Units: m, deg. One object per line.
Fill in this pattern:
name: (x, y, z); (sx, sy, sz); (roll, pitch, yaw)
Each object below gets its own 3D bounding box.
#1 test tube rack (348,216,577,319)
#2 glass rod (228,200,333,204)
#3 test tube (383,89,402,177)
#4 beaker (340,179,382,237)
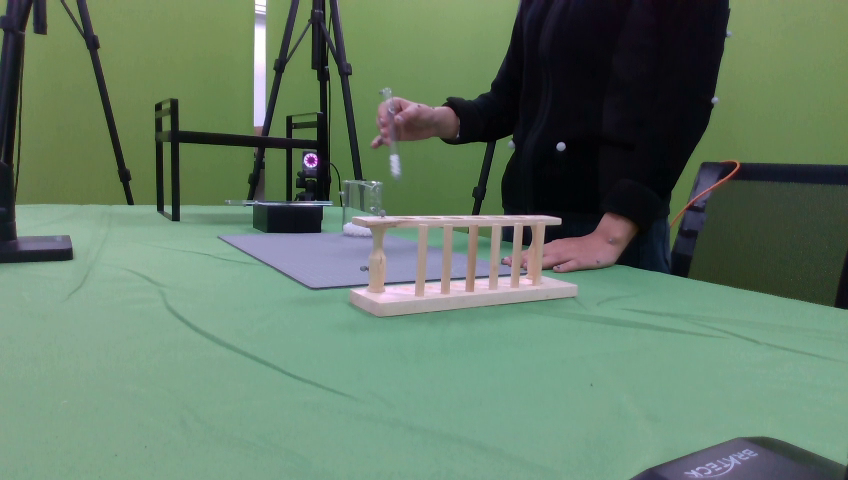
test tube rack: (0.048, 0.021, 0.619); (0.244, 0.085, 0.066); (-2, 9, -31)
glass rod: (-0.268, -0.071, 1.143); (0.201, 0.008, 0.008); (-1, 8, -29)
test tube: (-0.050, -0.174, 0.983); (0.017, 0.150, 0.017); (-7, -9, -1)
beaker: (-0.113, -0.058, 1.094); (0.074, 0.100, 0.083); (-2, 10, -29)
